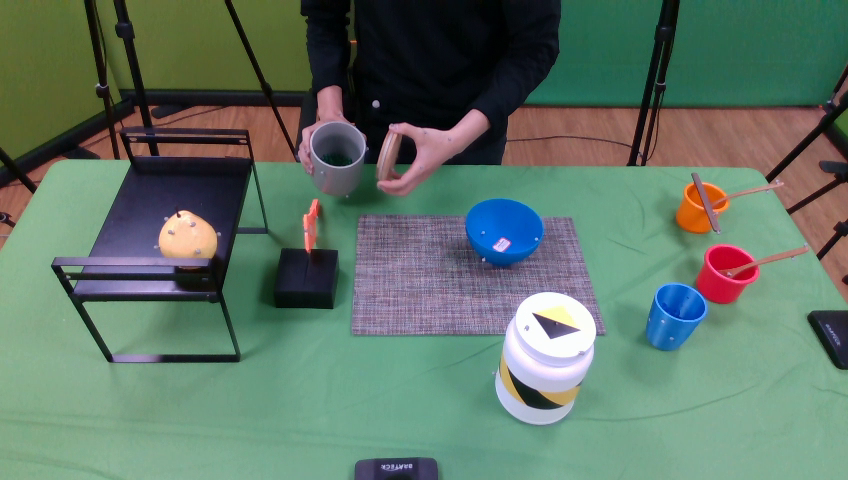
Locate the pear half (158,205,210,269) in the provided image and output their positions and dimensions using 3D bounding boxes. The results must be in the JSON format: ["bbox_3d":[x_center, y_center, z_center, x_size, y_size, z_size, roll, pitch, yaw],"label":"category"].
[{"bbox_3d":[-0.352,-0.015,0.872,0.056,0.110,0.076,25,46,19],"label":"pear half"}]

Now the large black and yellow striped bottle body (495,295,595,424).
[{"bbox_3d":[0.183,0.182,0.923,0.131,0.185,0.130,2,46,-2],"label":"large black and yellow striped bottle body"}]

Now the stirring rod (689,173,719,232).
[{"bbox_3d":[0.566,-0.079,1.225,0.014,0.006,0.175,2,45,2],"label":"stirring rod"}]

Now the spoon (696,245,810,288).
[{"bbox_3d":[0.601,0.047,1.114,0.193,0.022,0.041,-26,36,33],"label":"spoon"}]

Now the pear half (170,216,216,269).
[{"bbox_3d":[-0.323,0.007,0.866,0.031,0.088,0.070,25,46,20],"label":"pear half"}]

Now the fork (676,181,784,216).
[{"bbox_3d":[0.618,-0.084,1.235,0.207,0.019,0.028,-23,20,38],"label":"fork"}]

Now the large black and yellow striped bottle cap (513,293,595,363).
[{"bbox_3d":[0.186,0.123,0.863,0.115,0.019,0.114,3,45,-3],"label":"large black and yellow striped bottle cap"}]

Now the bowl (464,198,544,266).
[{"bbox_3d":[0.149,-0.003,1.167,0.151,0.077,0.150,2,46,-2],"label":"bowl"}]

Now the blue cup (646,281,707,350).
[{"bbox_3d":[0.425,0.136,1.042,0.092,0.101,0.092,1,44,-1],"label":"blue cup"}]

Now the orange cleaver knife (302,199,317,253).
[{"bbox_3d":[-0.219,-0.031,1.168,0.012,0.077,0.210,-5,17,-3],"label":"orange cleaver knife"}]

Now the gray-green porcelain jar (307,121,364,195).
[{"bbox_3d":[-0.176,-0.155,1.191,0.106,0.127,0.105,5,65,-10],"label":"gray-green porcelain jar"}]

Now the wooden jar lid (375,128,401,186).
[{"bbox_3d":[-0.065,-0.151,1.092,0.021,0.109,0.108,16,47,2],"label":"wooden jar lid"}]
